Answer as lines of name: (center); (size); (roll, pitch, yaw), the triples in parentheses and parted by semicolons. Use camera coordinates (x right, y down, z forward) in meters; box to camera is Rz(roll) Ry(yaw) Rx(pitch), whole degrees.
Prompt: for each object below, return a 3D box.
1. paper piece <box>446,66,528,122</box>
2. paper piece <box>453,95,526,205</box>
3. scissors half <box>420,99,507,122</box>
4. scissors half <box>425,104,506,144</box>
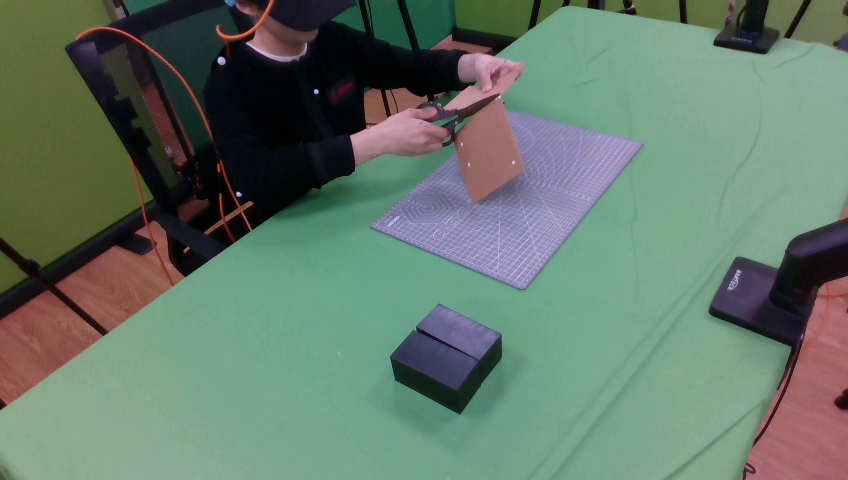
paper piece: (0.108, -0.257, 1.071); (0.134, 0.004, 0.136); (-16, 27, 41)
paper piece: (0.104, -0.148, 1.013); (0.009, 0.135, 0.137); (-8, 74, -35)
scissors half: (0.064, -0.221, 1.035); (0.174, 0.040, 0.013); (8, 28, 34)
scissors half: (0.070, -0.202, 1.042); (0.174, 0.040, 0.013); (-17, 17, 42)
